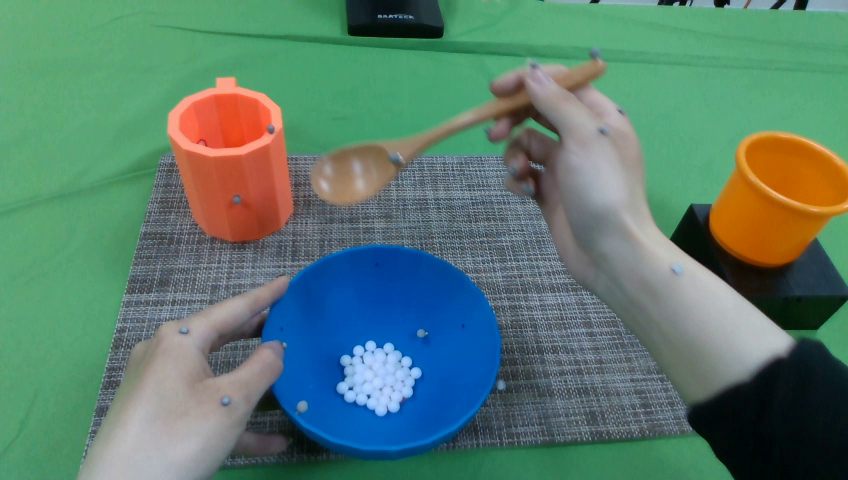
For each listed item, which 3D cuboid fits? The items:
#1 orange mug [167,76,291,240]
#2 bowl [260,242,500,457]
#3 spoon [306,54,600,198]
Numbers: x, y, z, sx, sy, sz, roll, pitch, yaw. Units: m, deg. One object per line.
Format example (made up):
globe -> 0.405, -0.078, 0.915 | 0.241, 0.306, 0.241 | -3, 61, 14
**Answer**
orange mug -> -0.162, -0.078, 0.515 | 0.084, 0.101, 0.125 | -7, 55, -13
bowl -> -0.029, 0.083, 0.408 | 0.151, 0.077, 0.150 | 4, 49, -4
spoon -> 0.015, -0.072, 0.375 | 0.193, 0.022, 0.041 | -21, 72, 14
